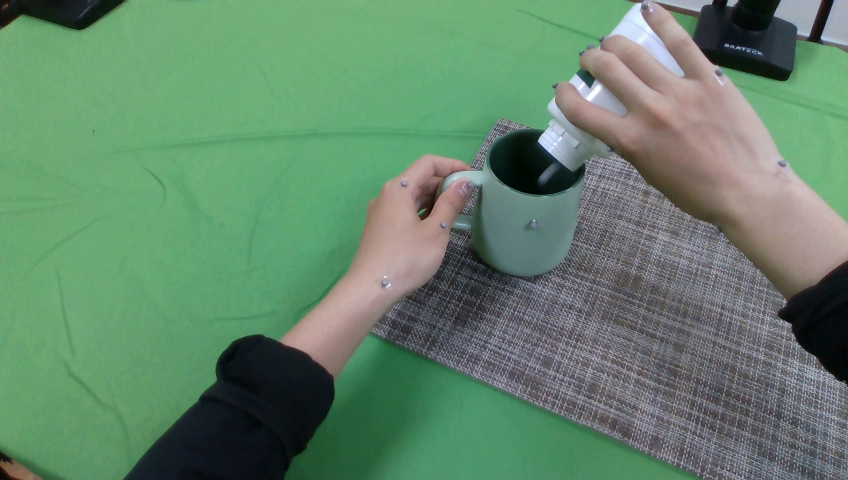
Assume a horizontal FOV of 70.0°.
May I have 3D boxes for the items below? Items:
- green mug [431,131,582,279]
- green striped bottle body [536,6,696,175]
[{"bbox_3d":[0.069,-0.027,0.518,0.125,0.106,0.091,-1,51,-1],"label":"green mug"},{"bbox_3d":[0.138,-0.107,0.456,0.119,0.064,0.062,-50,57,17],"label":"green striped bottle body"}]
